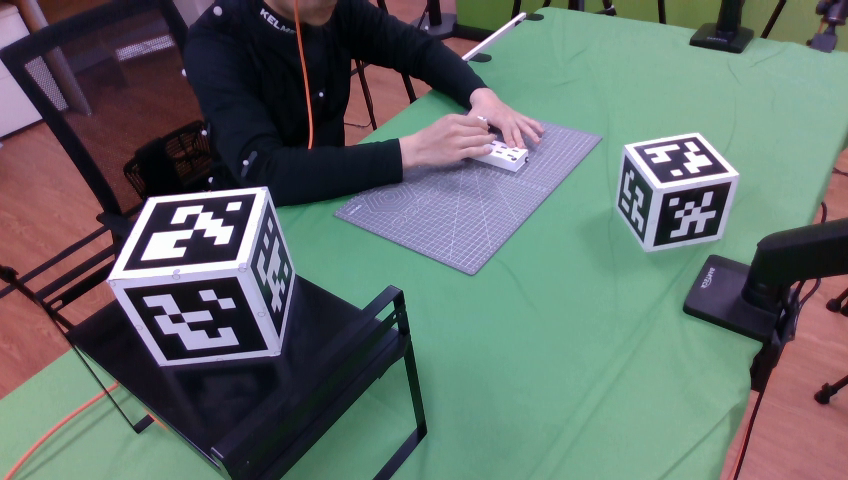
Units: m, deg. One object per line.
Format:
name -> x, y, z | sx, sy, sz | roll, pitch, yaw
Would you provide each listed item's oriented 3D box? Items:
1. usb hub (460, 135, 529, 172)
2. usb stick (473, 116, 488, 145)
usb hub -> 0.132, -0.163, 1.137 | 0.124, 0.025, 0.049 | 21, 49, 30
usb stick -> 0.106, -0.209, 1.127 | 0.021, 0.059, 0.027 | 7, 45, 1
